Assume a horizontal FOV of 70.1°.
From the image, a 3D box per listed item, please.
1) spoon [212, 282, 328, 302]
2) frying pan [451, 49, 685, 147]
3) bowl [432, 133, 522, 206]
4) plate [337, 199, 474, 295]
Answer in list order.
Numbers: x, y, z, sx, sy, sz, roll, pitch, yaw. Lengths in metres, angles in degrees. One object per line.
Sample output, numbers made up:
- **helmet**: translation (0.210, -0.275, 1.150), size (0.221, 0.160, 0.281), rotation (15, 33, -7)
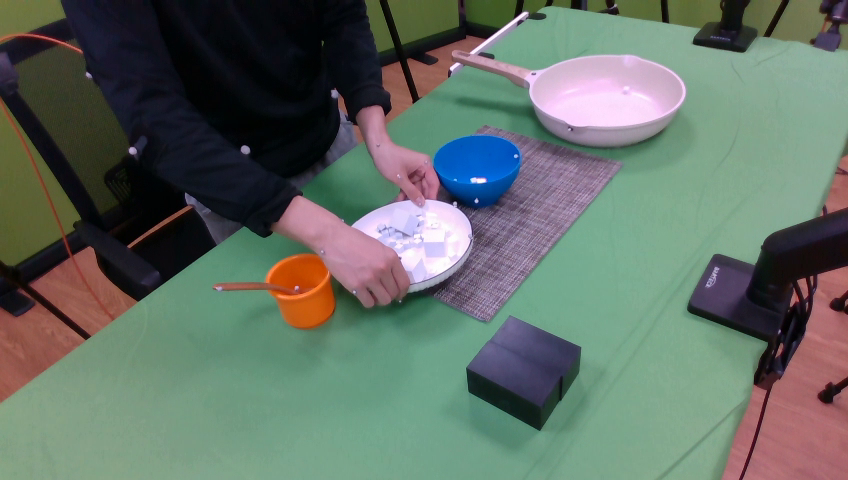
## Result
- **spoon**: translation (-0.204, 0.067, 0.822), size (0.041, 0.195, 0.021), rotation (27, 96, 35)
- **frying pan**: translation (0.269, -0.316, 1.233), size (0.485, 0.103, 0.307), rotation (26, 49, 21)
- **bowl**: translation (0.092, -0.110, 1.034), size (0.151, 0.077, 0.150), rotation (-4, 41, 4)
- **plate**: translation (-0.026, 0.013, 0.912), size (0.207, 0.039, 0.206), rotation (-7, 38, 6)
